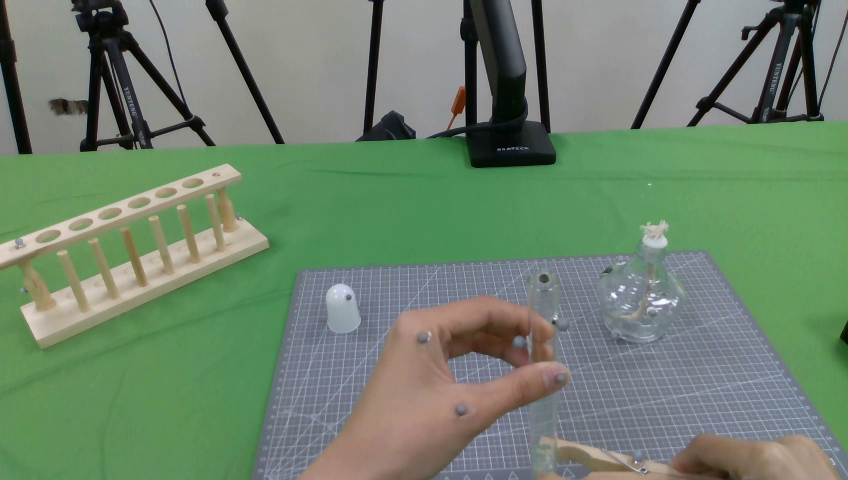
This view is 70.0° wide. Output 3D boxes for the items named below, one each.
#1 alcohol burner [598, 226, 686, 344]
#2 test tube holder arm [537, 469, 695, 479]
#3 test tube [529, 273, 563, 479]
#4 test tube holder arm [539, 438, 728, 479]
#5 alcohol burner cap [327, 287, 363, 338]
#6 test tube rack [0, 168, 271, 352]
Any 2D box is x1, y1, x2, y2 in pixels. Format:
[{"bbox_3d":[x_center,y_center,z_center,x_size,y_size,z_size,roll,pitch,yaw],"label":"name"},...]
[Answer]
[{"bbox_3d":[0.199,0.036,0.544,0.078,0.120,0.077,-1,38,1],"label":"alcohol burner"},{"bbox_3d":[0.109,0.138,0.343,0.088,0.015,0.010,-3,34,5],"label":"test tube holder arm"},{"bbox_3d":[0.065,0.083,0.323,0.017,0.151,0.017,-5,32,3],"label":"test tube"},{"bbox_3d":[0.153,0.138,0.337,0.177,0.015,0.013,7,38,18],"label":"test tube holder arm"},{"bbox_3d":[-0.077,0.066,0.579,0.034,0.048,0.033,-1,36,1],"label":"alcohol burner cap"},{"bbox_3d":[-0.291,0.012,0.634,0.242,0.086,0.066,-28,42,-31],"label":"test tube rack"}]
